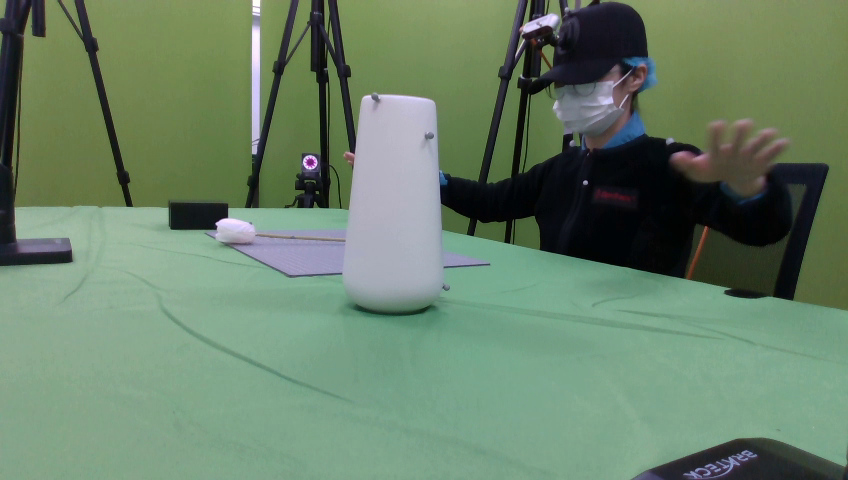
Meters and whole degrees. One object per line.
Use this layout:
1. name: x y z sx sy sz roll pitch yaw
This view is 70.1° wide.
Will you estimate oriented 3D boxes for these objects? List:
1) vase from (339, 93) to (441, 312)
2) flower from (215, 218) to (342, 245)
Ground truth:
1. vase: -0.032 -0.035 0.577 0.098 0.200 0.098 0 7 0
2. flower: -0.152 -0.001 0.993 0.363 0.038 0.044 5 -31 -17
